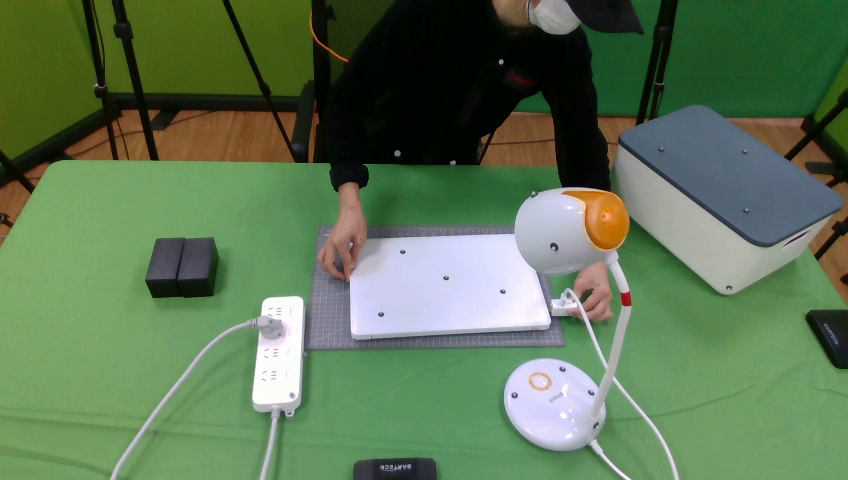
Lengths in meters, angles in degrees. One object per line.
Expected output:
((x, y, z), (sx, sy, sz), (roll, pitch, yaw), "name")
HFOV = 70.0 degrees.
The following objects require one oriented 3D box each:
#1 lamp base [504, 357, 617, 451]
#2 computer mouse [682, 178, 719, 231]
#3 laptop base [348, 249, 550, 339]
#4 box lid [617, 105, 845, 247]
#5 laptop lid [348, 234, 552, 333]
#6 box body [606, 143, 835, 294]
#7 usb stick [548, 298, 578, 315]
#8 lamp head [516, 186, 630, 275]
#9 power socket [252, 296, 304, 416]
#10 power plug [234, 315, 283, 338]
((0.220, 0.211, 0.903), (0.160, 0.181, 0.178), (-33, 59, -30), "lamp base")
((0.596, -0.078, 1.290), (0.117, 0.041, 0.062), (56, 45, -7), "computer mouse")
((0.038, 0.082, 1.124), (0.355, 0.023, 0.234), (-2, 43, -6), "laptop base")
((0.586, -0.138, 1.176), (0.263, 0.015, 0.369), (-22, 51, -23), "box lid")
((0.039, 0.072, 1.117), (0.357, 0.013, 0.240), (-1, 44, -5), "laptop lid")
((0.582, -0.088, 1.230), (0.254, 0.161, 0.361), (-22, 52, -23), "box body")
((0.244, 0.120, 1.084), (0.059, 0.027, 0.021), (-4, 52, 2), "usb stick")
((0.188, -0.013, 0.728), (0.112, 0.112, 0.122), (-25, 9, -25), "lamp head")
((-0.238, 0.181, 0.997), (0.072, 0.033, 0.225), (-3, 47, -5), "power socket")
((-0.269, 0.143, 1.000), (0.072, 0.053, 0.035), (4, 47, 3), "power plug")
